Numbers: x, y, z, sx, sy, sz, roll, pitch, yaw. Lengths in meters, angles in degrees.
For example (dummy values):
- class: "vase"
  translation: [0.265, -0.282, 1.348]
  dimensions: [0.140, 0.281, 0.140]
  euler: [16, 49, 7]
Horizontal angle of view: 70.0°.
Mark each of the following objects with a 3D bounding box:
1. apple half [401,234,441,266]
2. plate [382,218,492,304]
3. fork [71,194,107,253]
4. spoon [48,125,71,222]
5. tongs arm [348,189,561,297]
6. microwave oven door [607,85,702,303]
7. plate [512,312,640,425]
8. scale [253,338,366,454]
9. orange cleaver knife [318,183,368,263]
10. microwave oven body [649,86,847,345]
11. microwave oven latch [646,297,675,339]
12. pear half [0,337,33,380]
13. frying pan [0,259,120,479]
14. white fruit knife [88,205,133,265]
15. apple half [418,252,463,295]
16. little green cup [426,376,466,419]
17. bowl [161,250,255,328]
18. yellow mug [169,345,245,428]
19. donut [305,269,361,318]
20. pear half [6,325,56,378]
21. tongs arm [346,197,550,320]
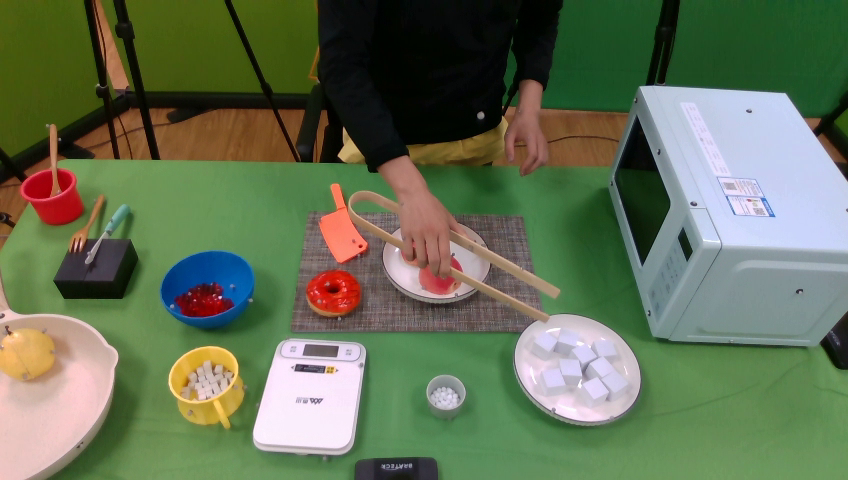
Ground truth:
- class: "apple half"
  translation: [-0.005, 0.014, 1.159]
  dimensions: [0.081, 0.033, 0.081]
  euler: [4, 44, -4]
- class: "plate"
  translation: [0.023, 0.042, 1.143]
  dimensions: [0.209, 0.038, 0.208]
  euler: [2, 46, -2]
- class: "fork"
  translation: [-0.635, -0.036, 1.158]
  dimensions: [0.028, 0.019, 0.206]
  euler: [-7, 32, -8]
- class: "spoon"
  translation: [-0.718, -0.131, 1.188]
  dimensions: [0.041, 0.021, 0.193]
  euler: [-3, 90, -7]
- class: "tongs arm"
  translation: [0.046, 0.009, 1.015]
  dimensions: [0.384, 0.026, 0.050]
  euler: [29, 58, 10]
- class: "microwave oven door"
  translation: [0.423, -0.094, 1.140]
  dimensions: [0.039, 0.245, 0.353]
  euler: [2, 46, -1]
- class: "plate"
  translation: [0.246, 0.213, 0.999]
  dimensions: [0.208, 0.039, 0.206]
  euler: [2, 46, -2]
- class: "scale"
  translation: [-0.175, 0.236, 0.951]
  dimensions: [0.149, 0.032, 0.199]
  euler: [5, 45, 0]
- class: "orange cleaver knife"
  translation: [-0.173, -0.038, 1.218]
  dimensions: [0.077, 0.012, 0.210]
  euler: [-17, 51, -11]
- class: "microwave oven body"
  translation: [0.567, -0.053, 1.118]
  dimensions: [0.326, 0.261, 0.439]
  euler: [2, 45, -1]
- class: "microwave oven latch"
  translation: [0.412, 0.134, 1.061]
  dimensions: [0.030, 0.029, 0.078]
  euler: [4, 45, 1]
- class: "pear half"
  translation: [-0.631, 0.184, 0.921]
  dimensions: [0.070, 0.088, 0.031]
  euler: [29, 49, 19]
- class: "frying pan"
  translation: [-0.647, 0.164, 0.936]
  dimensions: [0.307, 0.103, 0.485]
  euler: [-19, 58, -22]
- class: "white fruit knife"
  translation: [-0.584, -0.013, 1.129]
  dimensions: [0.016, 0.027, 0.206]
  euler: [0, 32, -5]
- class: "apple half"
  translation: [0.033, 0.056, 1.109]
  dimensions: [0.081, 0.053, 0.074]
  euler: [-30, 58, -28]
- class: "little green cup"
  translation: [0.033, 0.248, 0.950]
  dimensions: [0.061, 0.039, 0.061]
  euler: [2, 46, -2]
- class: "bowl"
  translation: [-0.362, 0.098, 1.039]
  dimensions: [0.151, 0.077, 0.150]
  euler: [2, 45, -2]
- class: "yellow mug"
  translation: [-0.322, 0.230, 0.922]
  dimensions: [0.100, 0.064, 0.130]
  euler: [-24, 53, -25]
- class: "donut"
  translation: [-0.161, 0.095, 1.075]
  dimensions: [0.099, 0.048, 0.098]
  euler: [4, 45, -3]
- class: "pear half"
  translation: [-0.608, 0.158, 0.935]
  dimensions: [0.076, 0.110, 0.056]
  euler: [31, 51, 20]
- class: "tongs arm"
  translation: [0.031, 0.032, 0.997]
  dimensions: [0.387, 0.028, 0.028]
  euler: [28, 62, 9]
